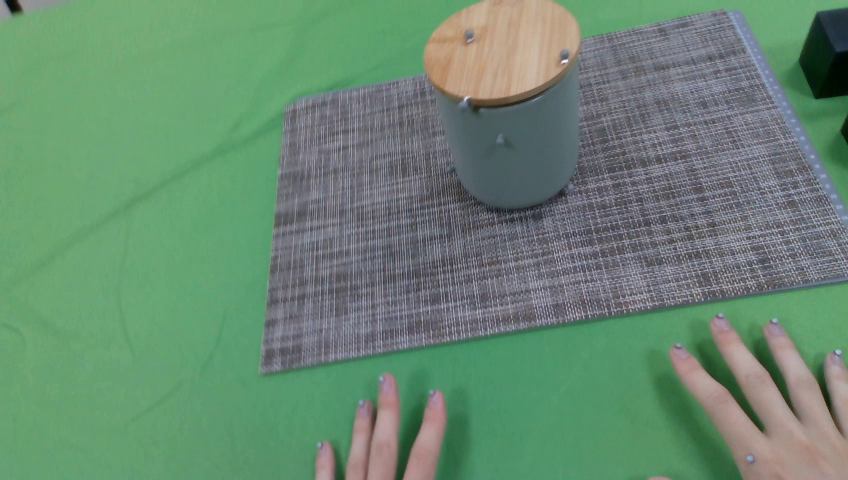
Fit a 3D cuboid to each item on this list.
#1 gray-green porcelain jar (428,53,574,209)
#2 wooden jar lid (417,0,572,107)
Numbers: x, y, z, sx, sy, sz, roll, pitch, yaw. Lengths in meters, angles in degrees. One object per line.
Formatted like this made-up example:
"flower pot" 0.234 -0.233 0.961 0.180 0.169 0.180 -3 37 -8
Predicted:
"gray-green porcelain jar" 0.064 -0.095 0.478 0.106 0.128 0.105 -7 55 10
"wooden jar lid" 0.049 -0.129 0.426 0.108 0.021 0.107 -7 55 10
